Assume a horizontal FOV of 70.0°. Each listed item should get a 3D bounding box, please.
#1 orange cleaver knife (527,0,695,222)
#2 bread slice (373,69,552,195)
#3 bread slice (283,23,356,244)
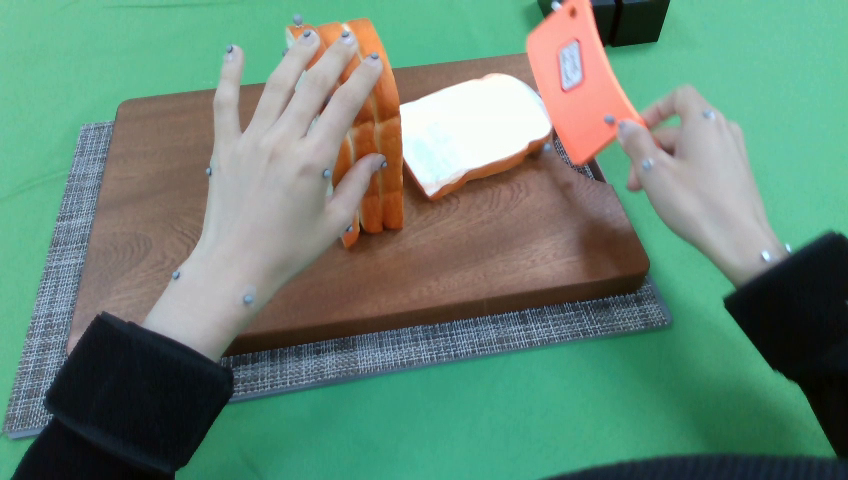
[{"bbox_3d":[0.129,-0.092,0.449,0.012,0.077,0.209,6,54,-36],"label":"orange cleaver knife"},{"bbox_3d":[0.037,-0.093,0.495,0.132,0.019,0.104,-20,58,-14],"label":"bread slice"},{"bbox_3d":[-0.073,-0.080,0.423,0.018,0.135,0.105,-17,48,-15],"label":"bread slice"}]
